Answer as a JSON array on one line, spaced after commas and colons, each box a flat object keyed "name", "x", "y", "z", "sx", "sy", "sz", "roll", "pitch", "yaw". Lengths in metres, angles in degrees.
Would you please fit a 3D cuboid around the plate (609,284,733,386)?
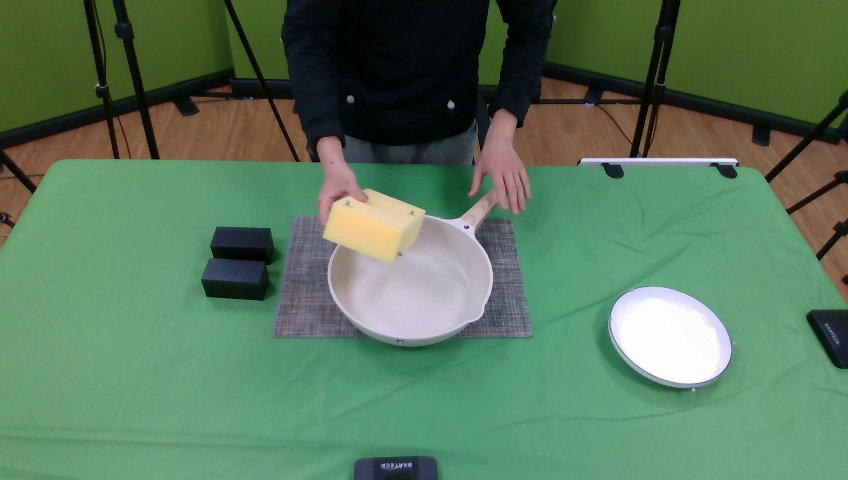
[{"name": "plate", "x": 0.425, "y": 0.167, "z": 1.059, "sx": 0.208, "sy": 0.039, "sz": 0.206, "roll": 2, "pitch": 46, "yaw": -2}]

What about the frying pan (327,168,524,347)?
[{"name": "frying pan", "x": 0.042, "y": 0.009, "z": 1.132, "sx": 0.305, "sy": 0.103, "sz": 0.487, "roll": 34, "pitch": 61, "yaw": 24}]

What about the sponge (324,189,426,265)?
[{"name": "sponge", "x": -0.076, "y": -0.028, "z": 1.017, "sx": 0.118, "sy": 0.061, "sz": 0.206, "roll": 21, "pitch": 14, "yaw": 4}]
